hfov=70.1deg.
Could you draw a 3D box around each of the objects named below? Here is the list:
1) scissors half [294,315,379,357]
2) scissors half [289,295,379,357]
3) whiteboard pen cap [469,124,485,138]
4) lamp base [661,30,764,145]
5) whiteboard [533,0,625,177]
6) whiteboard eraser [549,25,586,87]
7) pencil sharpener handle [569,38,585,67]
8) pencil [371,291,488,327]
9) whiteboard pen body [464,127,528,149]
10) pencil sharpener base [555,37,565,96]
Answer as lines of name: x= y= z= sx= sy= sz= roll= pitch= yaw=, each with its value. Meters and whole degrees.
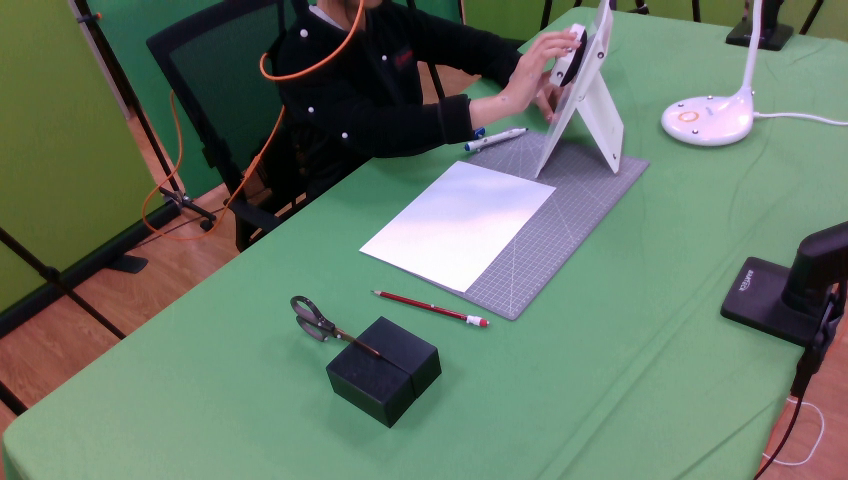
scissors half: x=-0.119 y=0.132 z=0.813 sx=0.174 sy=0.040 sz=0.013 roll=9 pitch=32 yaw=44
scissors half: x=-0.122 y=0.114 z=0.803 sx=0.174 sy=0.040 sz=0.013 roll=26 pitch=48 yaw=32
whiteboard pen cap: x=0.107 y=-0.220 z=1.224 sx=0.033 sy=0.018 sz=0.018 roll=-38 pitch=48 yaw=-24
lamp base: x=0.535 y=-0.287 z=1.096 sx=0.179 sy=0.181 sz=0.159 roll=-10 pitch=40 yaw=-4
whiteboard: x=0.321 y=-0.258 z=1.050 sx=0.144 sy=0.306 sz=0.217 roll=21 pitch=45 yaw=5
whiteboard eraser: x=0.248 y=-0.313 z=1.030 sx=0.042 sy=0.055 sz=0.112 roll=21 pitch=54 yaw=4
pencil sharpener handle: x=0.333 y=-0.413 z=1.317 sx=0.036 sy=0.068 sz=0.030 roll=20 pitch=47 yaw=13
pencil: x=0.003 y=0.097 z=0.877 sx=0.193 sy=0.012 sz=0.012 roll=13 pitch=45 yaw=26
whiteboard pen body: x=0.144 y=-0.203 z=1.192 sx=0.141 sy=0.017 sz=0.017 roll=-18 pitch=41 yaw=-15
pencil sharpener base: x=0.318 y=-0.371 z=1.290 sx=0.061 sy=0.107 sz=0.076 roll=10 pitch=44 yaw=22
